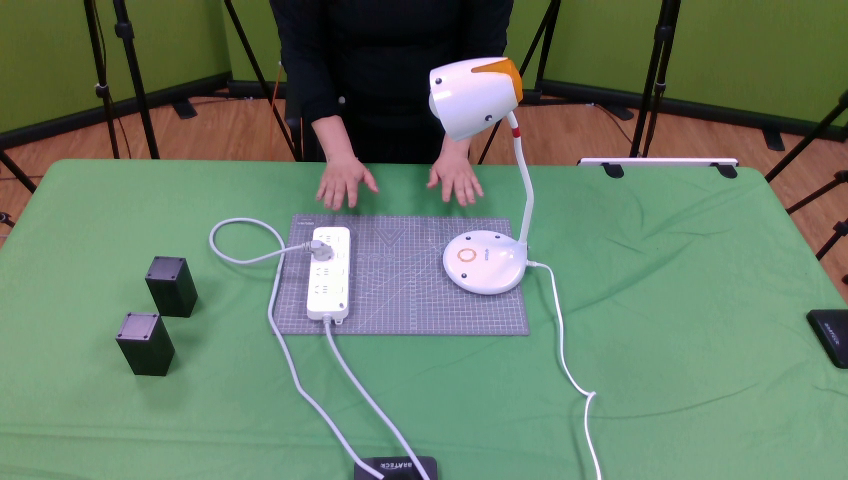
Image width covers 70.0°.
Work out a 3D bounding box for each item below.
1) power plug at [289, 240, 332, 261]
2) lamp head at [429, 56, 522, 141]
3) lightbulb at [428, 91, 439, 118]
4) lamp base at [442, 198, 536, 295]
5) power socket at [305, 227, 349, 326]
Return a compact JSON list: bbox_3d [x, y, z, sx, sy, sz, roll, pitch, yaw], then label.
[{"bbox_3d":[-0.208,0.022,1.123,0.072,0.053,0.035,5,44,5],"label":"power plug"},{"bbox_3d":[0.082,-0.212,0.882,0.123,0.113,0.111,-13,44,14],"label":"lamp head"},{"bbox_3d":[0.057,-0.213,0.888,0.107,0.060,0.059,-12,40,23],"label":"lightbulb"},{"bbox_3d":[0.131,-0.013,1.106,0.179,0.181,0.159,0,46,-8],"label":"lamp base"},{"bbox_3d":[-0.177,0.058,1.115,0.072,0.033,0.225,-1,46,-4],"label":"power socket"}]
